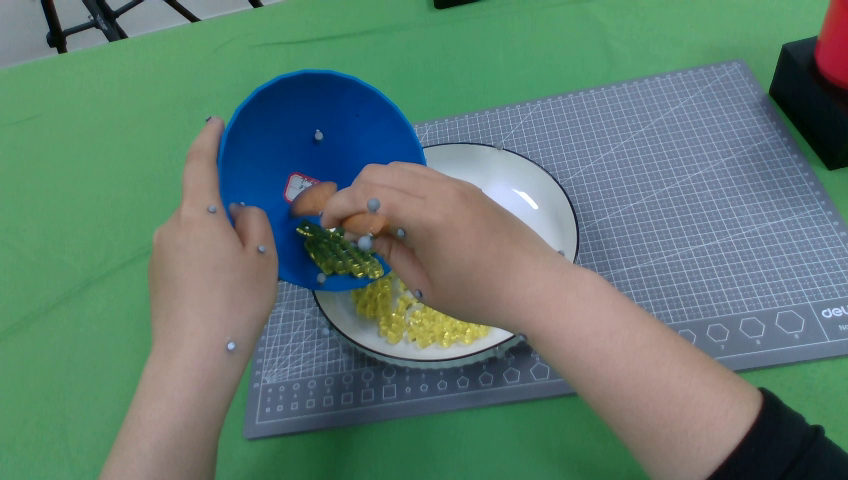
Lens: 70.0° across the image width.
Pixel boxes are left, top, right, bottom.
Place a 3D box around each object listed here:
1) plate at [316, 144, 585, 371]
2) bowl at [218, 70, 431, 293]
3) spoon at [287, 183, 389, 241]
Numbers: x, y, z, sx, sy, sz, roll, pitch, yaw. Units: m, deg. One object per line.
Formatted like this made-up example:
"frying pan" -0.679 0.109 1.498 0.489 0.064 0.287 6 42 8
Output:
"plate" 0.018 0.010 0.472 0.207 0.039 0.205 -7 52 9
"bowl" -0.078 -0.037 0.439 0.151 0.152 0.076 -48 21 -22
"spoon" -0.050 -0.016 0.353 0.041 0.022 0.192 -34 20 -14
